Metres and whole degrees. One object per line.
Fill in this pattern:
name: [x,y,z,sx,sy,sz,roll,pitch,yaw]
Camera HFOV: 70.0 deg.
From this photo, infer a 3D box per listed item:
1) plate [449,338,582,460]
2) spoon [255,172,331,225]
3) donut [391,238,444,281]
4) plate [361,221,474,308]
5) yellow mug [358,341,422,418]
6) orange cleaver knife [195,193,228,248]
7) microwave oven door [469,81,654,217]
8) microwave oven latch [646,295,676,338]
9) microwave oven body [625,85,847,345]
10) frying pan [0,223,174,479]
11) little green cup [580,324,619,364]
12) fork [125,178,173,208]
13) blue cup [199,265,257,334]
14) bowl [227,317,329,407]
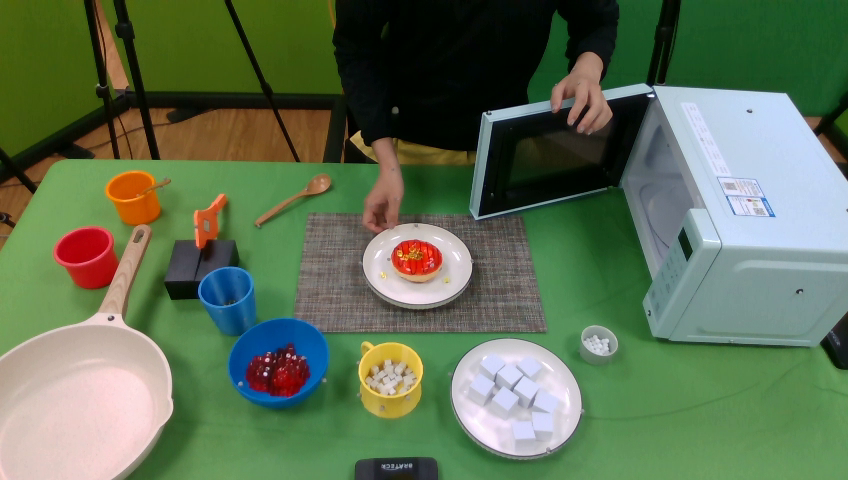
plate: [0.141,0.251,0.955,0.208,0.039,0.206,2,46,-2]
spoon: [-0.272,-0.087,1.256,0.041,0.022,0.193,43,57,17]
donut: [-0.012,0.035,1.128,0.099,0.048,0.098,3,43,-3]
plate: [-0.011,0.049,1.130,0.209,0.038,0.208,2,46,-2]
yellow mug: [-0.063,0.210,0.961,0.100,0.064,0.130,-29,54,-28]
orange cleaver knife: [-0.406,-0.041,1.163,0.012,0.077,0.210,0,18,-4]
microwave oven door: [0.270,-0.180,1.207,0.356,0.245,0.039,-14,49,-16]
microwave oven latch: [0.412,0.133,1.060,0.030,0.029,0.078,3,46,0]
microwave oven body: [0.568,-0.054,1.116,0.326,0.261,0.439,2,46,-1]
frying pan: [-0.504,0.169,0.941,0.307,0.103,0.485,5,54,-1]
little green cup: [0.295,0.179,1.031,0.061,0.039,0.061,2,45,-2]
fork: [-0.525,-0.090,1.154,0.207,0.019,0.028,-17,27,45]
blue cup: [-0.320,0.106,1.015,0.093,0.101,0.092,2,48,-2]
bowl: [-0.222,0.203,0.947,0.151,0.077,0.150,2,46,-2]
